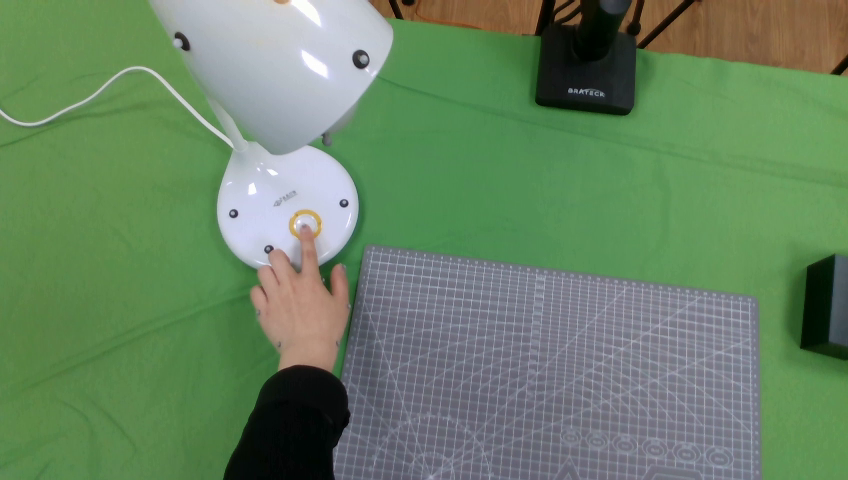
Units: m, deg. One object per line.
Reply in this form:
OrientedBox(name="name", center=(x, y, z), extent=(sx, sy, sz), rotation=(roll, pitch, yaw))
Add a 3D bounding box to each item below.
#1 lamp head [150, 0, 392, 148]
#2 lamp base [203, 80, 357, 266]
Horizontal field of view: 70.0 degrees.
OrientedBox(name="lamp head", center=(-0.099, -0.133, 0.353), extent=(0.124, 0.111, 0.112), rotation=(40, 73, -29))
OrientedBox(name="lamp base", center=(-0.167, -0.078, 0.629), extent=(0.178, 0.181, 0.160), rotation=(41, 76, 14))
